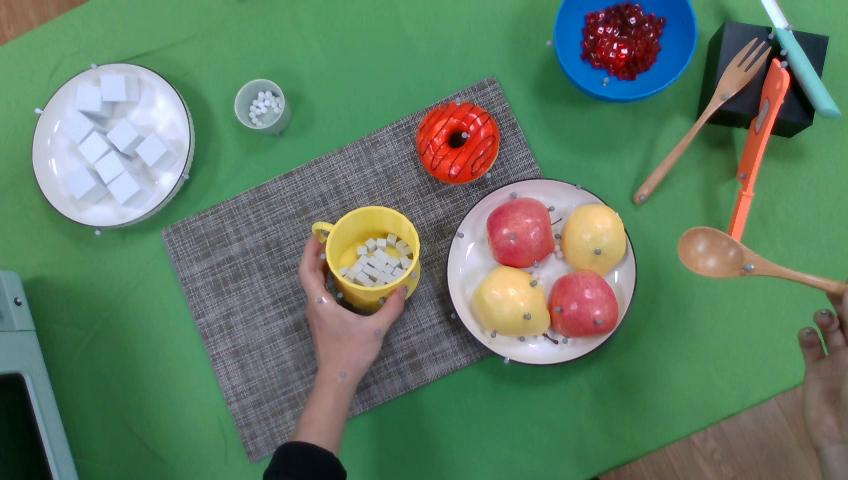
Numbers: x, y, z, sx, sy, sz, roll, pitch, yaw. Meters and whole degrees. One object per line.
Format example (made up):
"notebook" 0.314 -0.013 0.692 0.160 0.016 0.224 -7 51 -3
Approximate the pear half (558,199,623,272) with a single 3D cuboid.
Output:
"pear half" 0.179 -0.001 0.663 0.070 0.031 0.088 5 95 29

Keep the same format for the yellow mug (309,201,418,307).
"yellow mug" -0.071 0.009 0.668 0.130 0.064 0.099 24 68 11

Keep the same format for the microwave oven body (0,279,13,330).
"microwave oven body" -0.586 0.276 0.615 0.326 0.261 0.440 -22 83 3

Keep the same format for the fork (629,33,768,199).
"fork" 0.292 -0.128 0.658 0.028 0.018 0.208 34 109 1

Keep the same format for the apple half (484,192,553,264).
"apple half" 0.104 -0.014 0.669 0.074 0.053 0.080 -7 87 5

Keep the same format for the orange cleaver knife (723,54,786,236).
"orange cleaver knife" 0.348 -0.090 0.651 0.012 0.077 0.212 11 111 12

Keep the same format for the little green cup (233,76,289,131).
"little green cup" -0.195 -0.163 0.736 0.061 0.039 0.061 -1 84 7

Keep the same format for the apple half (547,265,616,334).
"apple half" 0.164 0.066 0.655 0.081 0.033 0.081 0 91 29

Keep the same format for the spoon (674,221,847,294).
"spoon" 0.299 0.027 0.483 0.192 0.022 0.041 19 81 20

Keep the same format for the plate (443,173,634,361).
"plate" 0.127 0.030 0.680 0.209 0.038 0.208 -1 84 5

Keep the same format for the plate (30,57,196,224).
"plate" -0.379 -0.120 0.751 0.207 0.039 0.207 -1 84 6

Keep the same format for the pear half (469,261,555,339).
"pear half" 0.104 0.073 0.664 0.110 0.056 0.076 38 94 1

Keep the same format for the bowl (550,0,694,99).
"bowl" 0.213 -0.222 0.681 0.151 0.077 0.151 -1 85 6

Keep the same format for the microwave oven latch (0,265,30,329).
"microwave oven latch" -0.502 0.069 0.725 0.030 0.029 0.079 -20 83 3

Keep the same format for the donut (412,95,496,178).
"donut" 0.035 -0.119 0.701 0.099 0.048 0.099 -1 86 8

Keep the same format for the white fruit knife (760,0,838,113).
"white fruit knife" 0.381 -0.225 0.645 0.027 0.016 0.206 -19 79 -26

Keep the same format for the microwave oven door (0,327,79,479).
"microwave oven door" -0.436 0.260 0.596 0.039 0.244 0.354 -22 82 3
